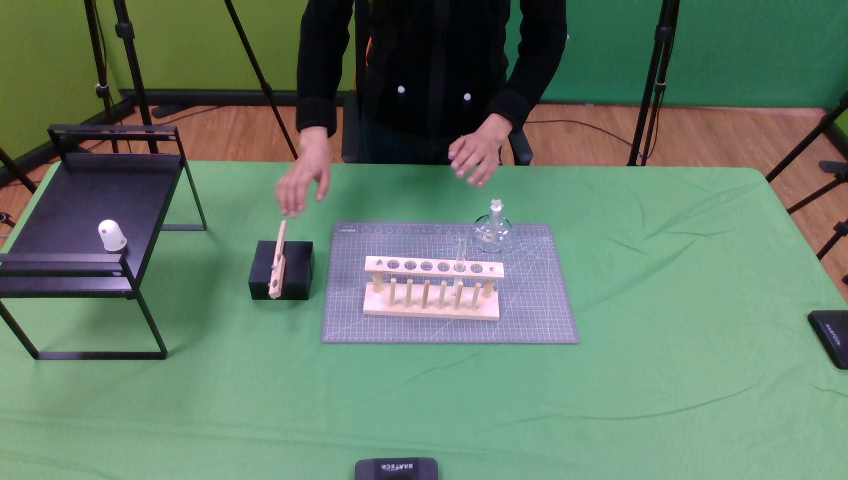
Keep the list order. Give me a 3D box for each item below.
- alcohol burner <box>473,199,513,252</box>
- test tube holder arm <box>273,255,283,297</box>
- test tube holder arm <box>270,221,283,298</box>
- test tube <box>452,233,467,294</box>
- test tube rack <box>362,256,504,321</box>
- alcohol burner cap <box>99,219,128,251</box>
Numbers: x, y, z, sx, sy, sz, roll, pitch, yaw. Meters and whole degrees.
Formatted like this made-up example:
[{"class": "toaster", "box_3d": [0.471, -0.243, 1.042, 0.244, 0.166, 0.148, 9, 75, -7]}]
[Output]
[{"class": "alcohol burner", "box_3d": [0.135, -0.034, 1.174, 0.078, 0.120, 0.077, 1, 47, -1]}, {"class": "test tube holder arm", "box_3d": [-0.253, 0.062, 1.055, 0.010, 0.015, 0.087, -5, 46, -3]}, {"class": "test tube holder arm", "box_3d": [-0.264, 0.031, 1.086, 0.013, 0.015, 0.177, -6, 46, -4]}, {"class": "test tube", "box_3d": [0.061, 0.045, 1.044, 0.017, 0.151, 0.017, 1, 47, -1]}, {"class": "test tube rack", "box_3d": [0.015, 0.085, 1.069, 0.242, 0.085, 0.066, 3, 45, -2]}, {"class": "alcohol burner cap", "box_3d": [-0.466, -0.010, 0.907, 0.034, 0.048, 0.033, 1, 47, -1]}]
